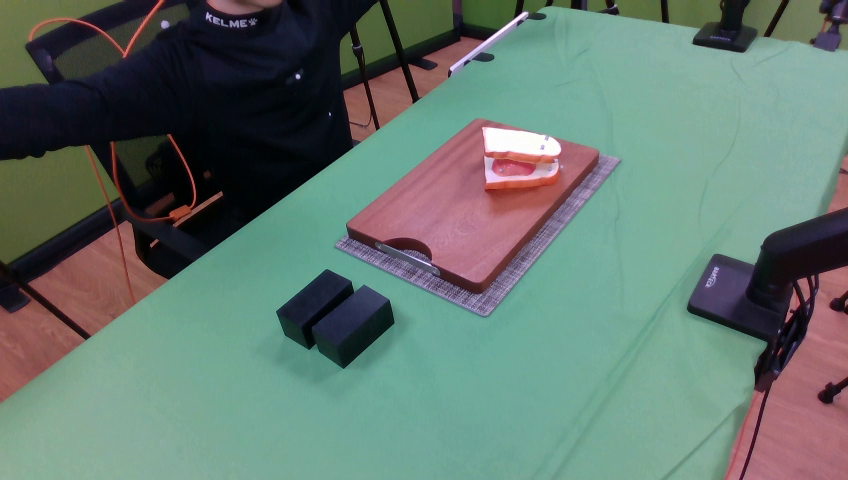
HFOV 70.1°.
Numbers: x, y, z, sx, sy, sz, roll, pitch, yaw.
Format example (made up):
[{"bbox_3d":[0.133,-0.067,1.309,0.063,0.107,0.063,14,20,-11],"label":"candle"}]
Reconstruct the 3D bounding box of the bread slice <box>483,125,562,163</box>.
[{"bbox_3d":[0.165,-0.162,1.024,0.134,0.018,0.106,6,33,-5],"label":"bread slice"}]

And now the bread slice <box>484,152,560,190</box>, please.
[{"bbox_3d":[0.170,-0.128,1.053,0.131,0.019,0.104,-3,42,4],"label":"bread slice"}]
